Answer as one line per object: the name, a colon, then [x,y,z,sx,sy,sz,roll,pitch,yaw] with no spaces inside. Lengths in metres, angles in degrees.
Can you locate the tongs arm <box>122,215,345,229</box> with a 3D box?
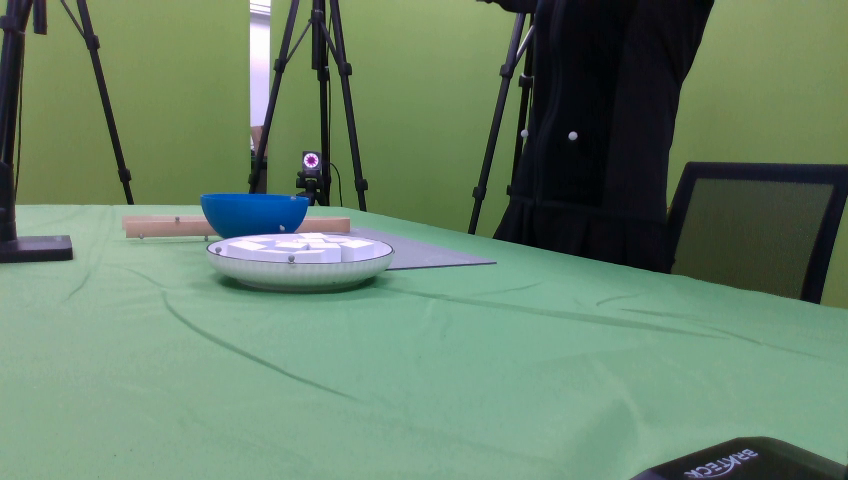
tongs arm: [-0.336,-0.032,1.103,0.389,0.027,0.028,0,1,-19]

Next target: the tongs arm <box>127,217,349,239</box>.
tongs arm: [-0.294,-0.023,1.027,0.387,0.026,0.050,-3,5,-34]

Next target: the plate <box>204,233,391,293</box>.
plate: [-0.143,0.025,0.697,0.208,0.039,0.207,3,9,0]

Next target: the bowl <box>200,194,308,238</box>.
bowl: [-0.245,-0.025,0.879,0.151,0.077,0.151,2,7,0]
